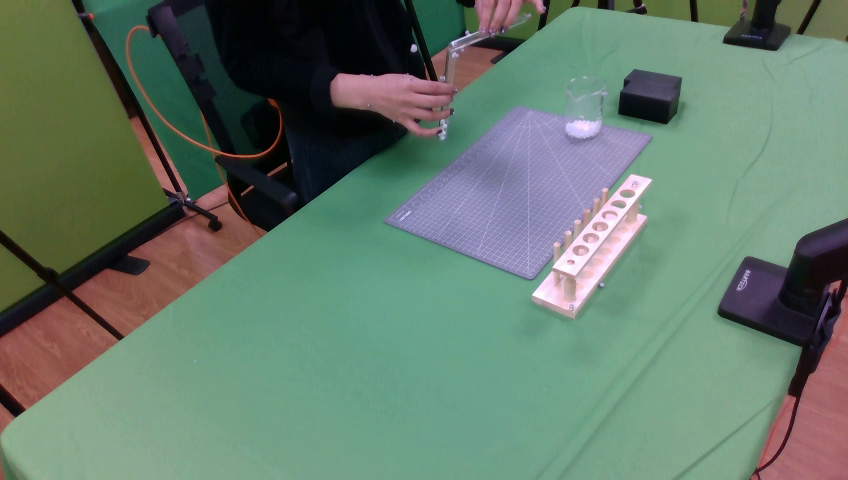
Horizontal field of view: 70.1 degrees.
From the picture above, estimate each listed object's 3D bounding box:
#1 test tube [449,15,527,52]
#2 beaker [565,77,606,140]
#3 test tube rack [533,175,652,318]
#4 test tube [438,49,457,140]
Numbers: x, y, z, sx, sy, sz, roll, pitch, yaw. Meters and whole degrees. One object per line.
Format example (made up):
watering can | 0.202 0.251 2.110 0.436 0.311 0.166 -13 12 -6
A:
test tube | 0.107 -0.341 0.993 0.151 0.017 0.017 -26 43 -16
beaker | 0.304 -0.247 1.153 0.073 0.101 0.084 15 47 27
test tube rack | 0.250 -0.001 0.889 0.066 0.085 0.243 22 49 33
test tube | 0.038 -0.239 1.005 0.017 0.150 0.017 5 26 -2
